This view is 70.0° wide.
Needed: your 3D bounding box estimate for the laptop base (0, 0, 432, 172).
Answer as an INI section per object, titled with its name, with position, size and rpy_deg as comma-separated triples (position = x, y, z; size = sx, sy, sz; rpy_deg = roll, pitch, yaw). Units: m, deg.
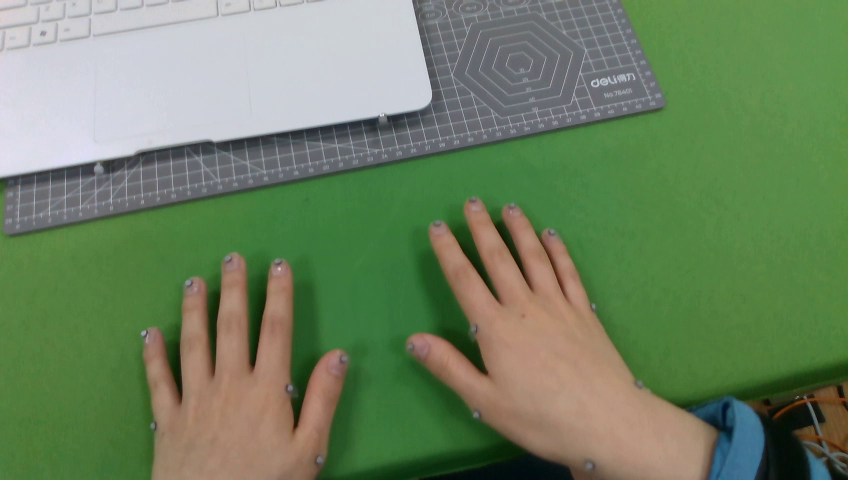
[laptop base]
position = -0.186, -0.168, 0.449
size = 0.354, 0.023, 0.234
rpy_deg = -10, 71, -3
